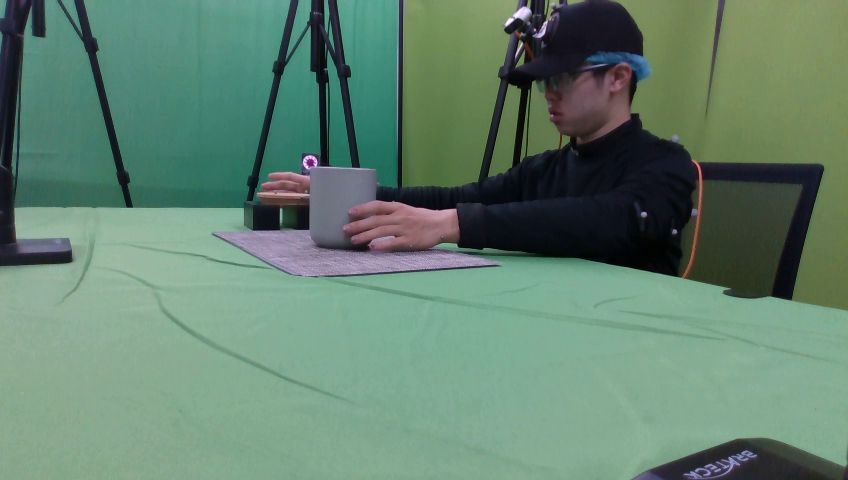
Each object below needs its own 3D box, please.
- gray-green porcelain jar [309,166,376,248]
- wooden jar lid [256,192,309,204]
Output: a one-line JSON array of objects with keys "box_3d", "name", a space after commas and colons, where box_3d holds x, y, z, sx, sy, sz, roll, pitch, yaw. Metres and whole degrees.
[{"box_3d": [-0.131, -0.054, 0.966, 0.106, 0.126, 0.106, 2, 8, 0], "name": "gray-green porcelain jar"}, {"box_3d": [-0.283, -0.086, 1.224, 0.108, 0.020, 0.108, 3, 7, 0], "name": "wooden jar lid"}]
